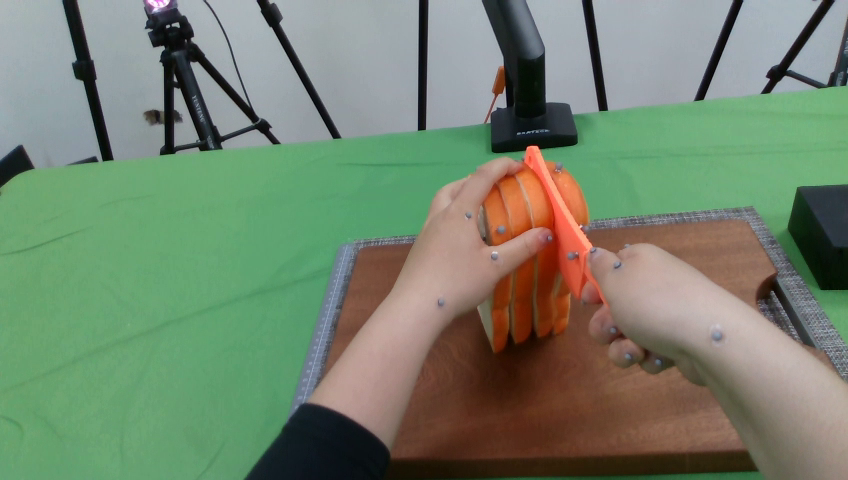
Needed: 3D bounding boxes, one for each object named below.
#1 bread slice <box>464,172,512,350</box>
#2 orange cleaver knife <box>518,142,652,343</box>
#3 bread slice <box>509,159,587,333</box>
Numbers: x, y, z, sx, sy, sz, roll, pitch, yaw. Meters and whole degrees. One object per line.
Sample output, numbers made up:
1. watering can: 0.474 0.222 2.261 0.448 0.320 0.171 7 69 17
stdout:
1. bread slice: 0.054 0.009 0.520 0.018 0.135 0.106 -10 32 -6
2. orange cleaver knife: 0.107 0.005 0.447 0.012 0.078 0.209 -12 43 -7
3. bread slice: 0.104 -0.001 0.521 0.019 0.132 0.103 -6 37 -15
